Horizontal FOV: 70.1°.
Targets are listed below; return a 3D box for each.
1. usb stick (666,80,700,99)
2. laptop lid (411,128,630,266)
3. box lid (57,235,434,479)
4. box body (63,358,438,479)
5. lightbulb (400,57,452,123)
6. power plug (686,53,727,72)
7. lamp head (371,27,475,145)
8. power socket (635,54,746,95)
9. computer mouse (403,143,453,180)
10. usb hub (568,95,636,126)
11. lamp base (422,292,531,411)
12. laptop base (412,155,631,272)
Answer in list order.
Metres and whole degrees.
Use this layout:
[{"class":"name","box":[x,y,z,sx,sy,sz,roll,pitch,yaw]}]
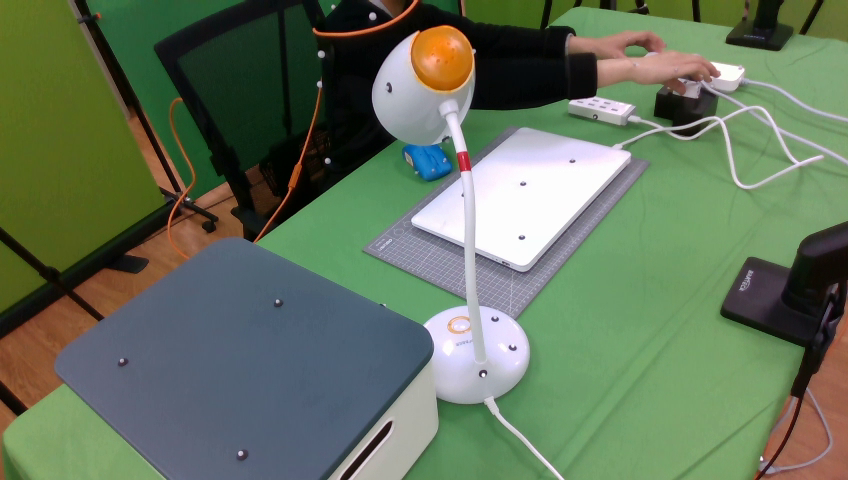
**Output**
[{"class":"usb stick","box":[0.492,-0.288,1.152,0.058,0.027,0.021,19,49,34]},{"class":"laptop lid","box":[0.172,-0.093,1.049,0.239,0.013,0.358,24,49,36]},{"class":"box lid","box":[-0.198,0.123,0.653,0.368,0.015,0.264,22,49,32]},{"class":"box body","box":[-0.189,0.179,0.702,0.361,0.161,0.255,22,49,32]},{"class":"lightbulb","box":[0.004,-0.169,0.669,0.059,0.108,0.059,1,79,-3]},{"class":"power plug","box":[0.584,-0.360,1.260,0.072,0.053,0.035,15,55,17]},{"class":"lamp head","box":[0.007,-0.167,0.644,0.113,0.112,0.122,-22,2,-14]},{"class":"power socket","box":[0.564,-0.357,1.293,0.225,0.033,0.072,24,51,33]},{"class":"computer mouse","box":[0.006,-0.159,1.165,0.063,0.041,0.116,-21,45,-16]},{"class":"usb hub","box":[0.360,-0.264,1.228,0.124,0.025,0.049,24,49,34]},{"class":"lamp base","box":[0.055,0.095,0.740,0.161,0.181,0.177,-19,43,-11]},{"class":"laptop base","box":[0.176,-0.083,1.055,0.233,0.023,0.355,21,48,36]}]
